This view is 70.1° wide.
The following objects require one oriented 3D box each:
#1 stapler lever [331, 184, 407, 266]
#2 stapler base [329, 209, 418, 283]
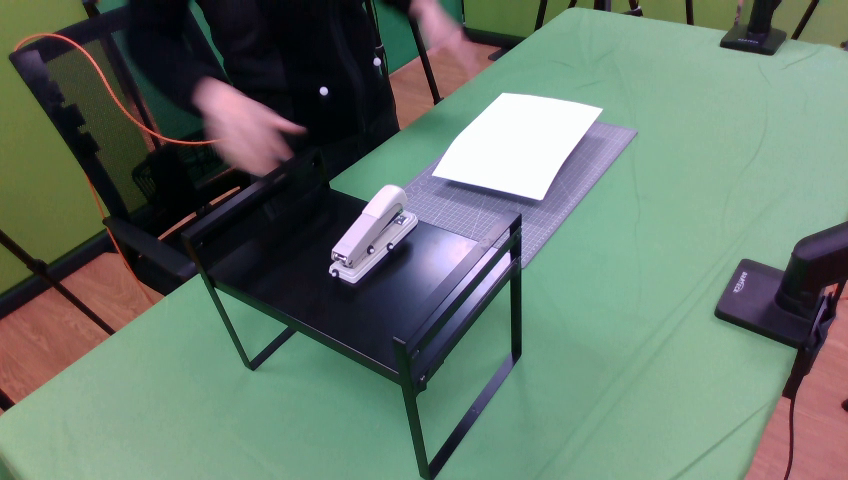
[{"bbox_3d":[-0.061,-0.020,0.690,0.026,0.040,0.118,18,48,31],"label":"stapler lever"},{"bbox_3d":[-0.058,-0.002,0.708,0.041,0.024,0.131,18,48,31],"label":"stapler base"}]
